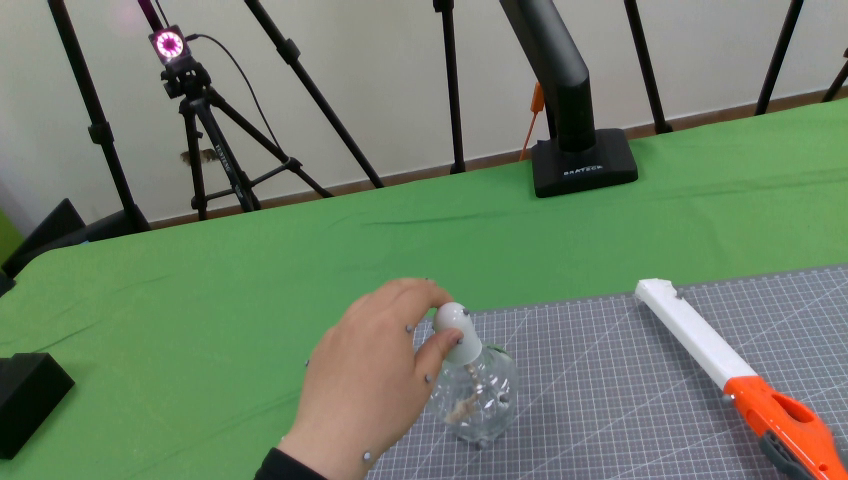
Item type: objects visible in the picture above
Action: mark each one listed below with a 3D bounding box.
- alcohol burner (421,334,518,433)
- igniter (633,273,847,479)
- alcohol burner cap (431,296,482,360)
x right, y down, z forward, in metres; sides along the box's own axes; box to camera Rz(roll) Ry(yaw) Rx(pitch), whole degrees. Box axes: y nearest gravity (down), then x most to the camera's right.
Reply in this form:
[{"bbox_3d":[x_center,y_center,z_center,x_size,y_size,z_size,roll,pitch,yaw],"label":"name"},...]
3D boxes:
[{"bbox_3d":[0.032,0.093,0.467,0.078,0.120,0.077,-11,37,8],"label":"alcohol burner"},{"bbox_3d":[0.233,0.105,0.431,0.057,0.025,0.273,-1,30,-14],"label":"igniter"},{"bbox_3d":[0.022,0.061,0.444,0.034,0.048,0.033,-11,37,9],"label":"alcohol burner cap"}]
